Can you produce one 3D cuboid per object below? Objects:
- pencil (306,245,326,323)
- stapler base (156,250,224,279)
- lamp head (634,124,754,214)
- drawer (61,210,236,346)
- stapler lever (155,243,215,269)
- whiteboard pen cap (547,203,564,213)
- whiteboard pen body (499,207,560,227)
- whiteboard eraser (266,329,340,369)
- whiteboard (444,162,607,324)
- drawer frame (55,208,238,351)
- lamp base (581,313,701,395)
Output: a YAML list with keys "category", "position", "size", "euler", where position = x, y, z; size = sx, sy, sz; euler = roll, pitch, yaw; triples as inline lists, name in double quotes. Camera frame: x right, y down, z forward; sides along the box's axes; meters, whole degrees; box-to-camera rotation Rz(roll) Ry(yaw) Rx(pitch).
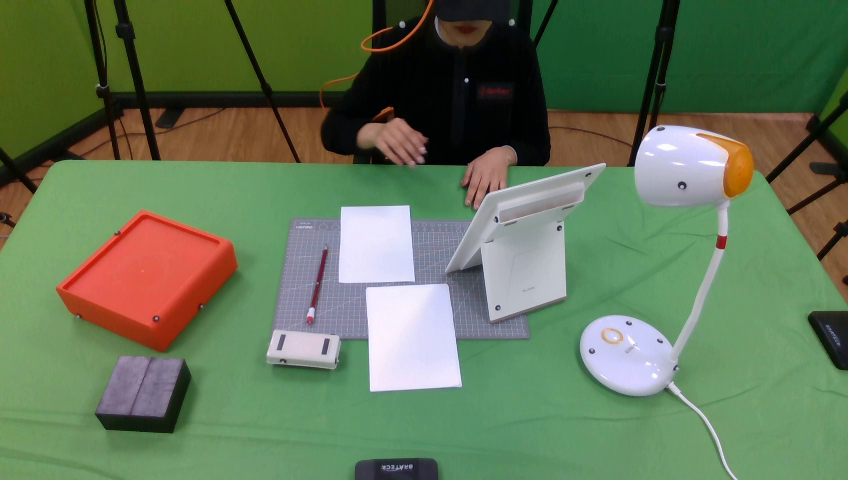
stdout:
- category: "pencil"
  position: [-0.196, 0.076, 1.115]
  size: [0.012, 0.012, 0.193]
  euler: [4, 44, 0]
- category: "stapler base"
  position: [-0.431, 0.040, 1.111]
  size: [0.130, 0.024, 0.041]
  euler: [11, 38, 17]
- category: "lamp head"
  position: [0.351, -0.089, 0.775]
  size: [0.112, 0.113, 0.122]
  euler: [-30, 30, -28]
- category: "drawer"
  position: [-0.474, 0.061, 1.063]
  size: [0.194, 0.073, 0.211]
  euler: [19, 48, 13]
- category: "stapler lever"
  position: [-0.433, 0.023, 1.097]
  size: [0.118, 0.040, 0.026]
  euler: [14, 39, 14]
- category: "whiteboard pen cap"
  position: [0.277, -0.066, 1.275]
  size: [0.033, 0.018, 0.018]
  euler: [-18, 50, -15]
- category: "whiteboard pen body"
  position: [0.222, -0.051, 1.259]
  size: [0.141, 0.017, 0.017]
  euler: [-15, 49, -16]
- category: "whiteboard eraser"
  position: [-0.198, 0.181, 0.994]
  size: [0.113, 0.042, 0.055]
  euler: [5, 45, 1]
- category: "whiteboard"
  position: [0.186, 0.025, 1.029]
  size: [0.217, 0.306, 0.143]
  euler: [-15, 68, -18]
- category: "drawer frame"
  position: [-0.474, 0.062, 1.059]
  size: [0.201, 0.083, 0.213]
  euler: [18, 48, 12]
- category: "lamp base"
  position: [0.361, 0.144, 0.973]
  size: [0.178, 0.181, 0.160]
  euler: [34, 53, 23]
